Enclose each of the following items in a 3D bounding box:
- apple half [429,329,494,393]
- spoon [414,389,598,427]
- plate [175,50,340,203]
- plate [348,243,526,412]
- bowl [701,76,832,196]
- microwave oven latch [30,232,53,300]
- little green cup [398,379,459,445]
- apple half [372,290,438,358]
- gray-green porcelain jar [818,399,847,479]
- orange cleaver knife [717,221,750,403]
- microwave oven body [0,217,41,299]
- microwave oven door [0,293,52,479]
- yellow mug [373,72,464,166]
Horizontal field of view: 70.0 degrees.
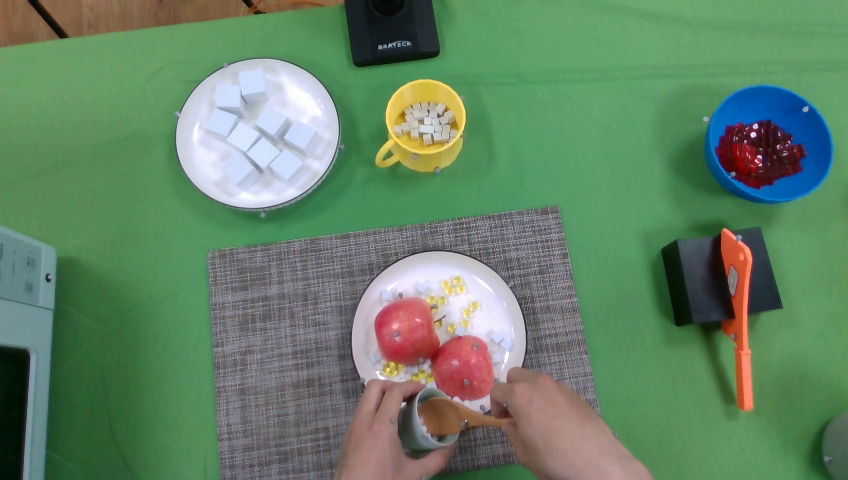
[{"bbox_3d":[0.044,0.142,0.709,0.081,0.033,0.081,0,75,1],"label":"apple half"},{"bbox_3d":[0.073,0.167,0.586,0.193,0.022,0.041,-8,94,36],"label":"spoon"},{"bbox_3d":[-0.210,-0.144,0.782,0.208,0.039,0.206,0,77,0],"label":"plate"},{"bbox_3d":[0.014,0.108,0.722,0.209,0.038,0.208,0,78,-1],"label":"plate"},{"bbox_3d":[0.412,-0.118,0.759,0.151,0.077,0.150,0,78,0],"label":"bowl"},{"bbox_3d":[-0.463,0.031,0.721,0.030,0.029,0.079,-2,78,-1],"label":"microwave oven latch"},{"bbox_3d":[0.004,0.181,0.629,0.062,0.039,0.061,20,40,-17],"label":"little green cup"},{"bbox_3d":[-0.024,0.097,0.709,0.075,0.053,0.080,-10,78,0],"label":"apple half"},{"bbox_3d":[0.509,0.225,0.658,0.106,0.127,0.105,0,77,0],"label":"gray-green porcelain jar"},{"bbox_3d":[0.362,0.084,0.711,0.012,0.077,0.212,-7,101,2],"label":"orange cleaver knife"},{"bbox_3d":[-0.596,0.192,0.585,0.326,0.261,0.439,-4,78,-2],"label":"microwave oven body"},{"bbox_3d":[-0.447,0.221,0.575,0.039,0.245,0.354,-5,77,-1],"label":"microwave oven door"},{"bbox_3d":[-0.012,-0.143,0.768,0.131,0.064,0.099,-39,80,-8],"label":"yellow mug"}]
